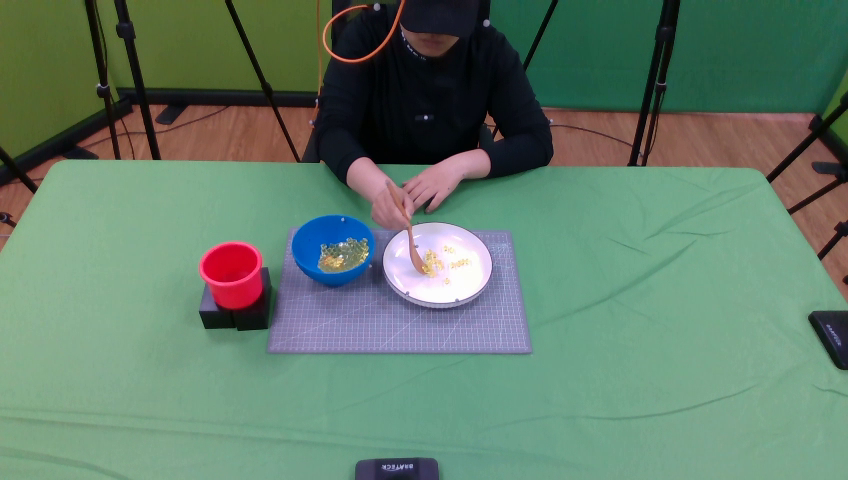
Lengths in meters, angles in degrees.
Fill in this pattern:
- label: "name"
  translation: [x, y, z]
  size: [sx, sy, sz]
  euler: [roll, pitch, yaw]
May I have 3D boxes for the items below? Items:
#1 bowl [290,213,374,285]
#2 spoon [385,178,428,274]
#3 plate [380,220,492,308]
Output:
- label: "bowl"
  translation: [-0.166, 0.030, 1.113]
  size: [0.151, 0.077, 0.150]
  euler: [2, 46, -2]
- label: "spoon"
  translation: [-0.031, -0.024, 1.094]
  size: [0.021, 0.194, 0.041]
  euler: [-10, 21, 20]
- label: "plate"
  translation: [0.022, 0.048, 1.137]
  size: [0.208, 0.039, 0.206]
  euler: [2, 46, -2]
